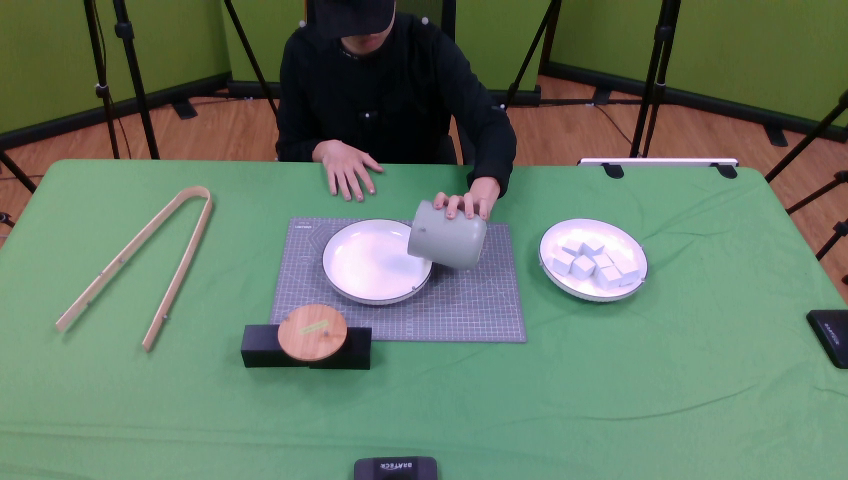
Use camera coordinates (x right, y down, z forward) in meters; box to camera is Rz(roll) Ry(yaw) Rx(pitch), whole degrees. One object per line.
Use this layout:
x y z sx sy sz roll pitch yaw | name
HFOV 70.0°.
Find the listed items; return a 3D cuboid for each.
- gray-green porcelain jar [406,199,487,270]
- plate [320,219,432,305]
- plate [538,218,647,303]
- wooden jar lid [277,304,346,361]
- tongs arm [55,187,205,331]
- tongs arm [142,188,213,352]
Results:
0.043 -0.007 1.090 0.126 0.106 0.105 16 47 6 | gray-green porcelain jar
-0.089 0.044 1.134 0.209 0.038 0.208 3 46 -3 | plate
0.322 0.043 1.171 0.208 0.039 0.206 2 46 -2 | plate
-0.179 0.150 0.972 0.108 0.021 0.107 2 45 -2 | wooden jar lid
-0.530 0.022 1.125 0.051 0.026 0.383 15 46 8 | tongs arm
-0.450 0.040 1.122 0.028 0.028 0.385 2 46 1 | tongs arm
